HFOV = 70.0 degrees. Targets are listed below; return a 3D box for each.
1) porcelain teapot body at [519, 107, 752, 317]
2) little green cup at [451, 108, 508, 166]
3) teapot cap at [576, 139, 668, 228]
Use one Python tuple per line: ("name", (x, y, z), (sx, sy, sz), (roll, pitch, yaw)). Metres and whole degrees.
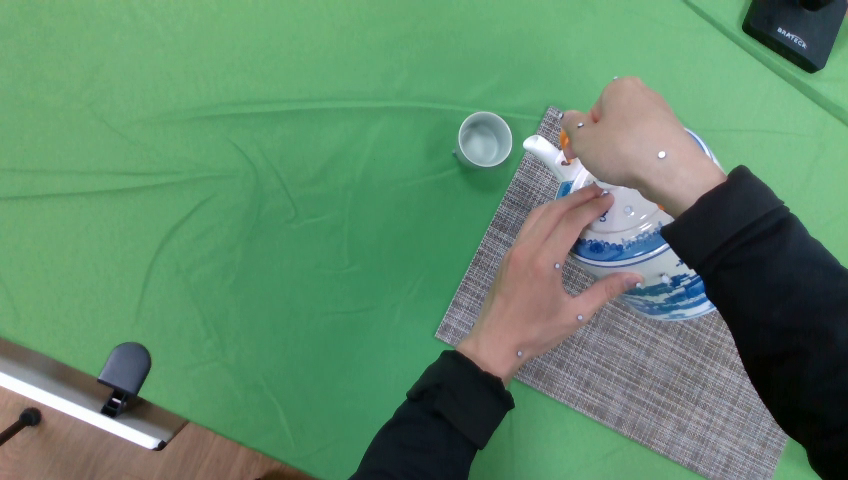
("porcelain teapot body", (0.171, -0.043, 0.558), (0.228, 0.203, 0.145), (35, 91, -39))
("little green cup", (0.059, -0.112, 0.673), (0.062, 0.038, 0.061), (1, 85, -11))
("teapot cap", (0.162, -0.051, 0.509), (0.044, 0.084, 0.085), (36, 79, -36))
